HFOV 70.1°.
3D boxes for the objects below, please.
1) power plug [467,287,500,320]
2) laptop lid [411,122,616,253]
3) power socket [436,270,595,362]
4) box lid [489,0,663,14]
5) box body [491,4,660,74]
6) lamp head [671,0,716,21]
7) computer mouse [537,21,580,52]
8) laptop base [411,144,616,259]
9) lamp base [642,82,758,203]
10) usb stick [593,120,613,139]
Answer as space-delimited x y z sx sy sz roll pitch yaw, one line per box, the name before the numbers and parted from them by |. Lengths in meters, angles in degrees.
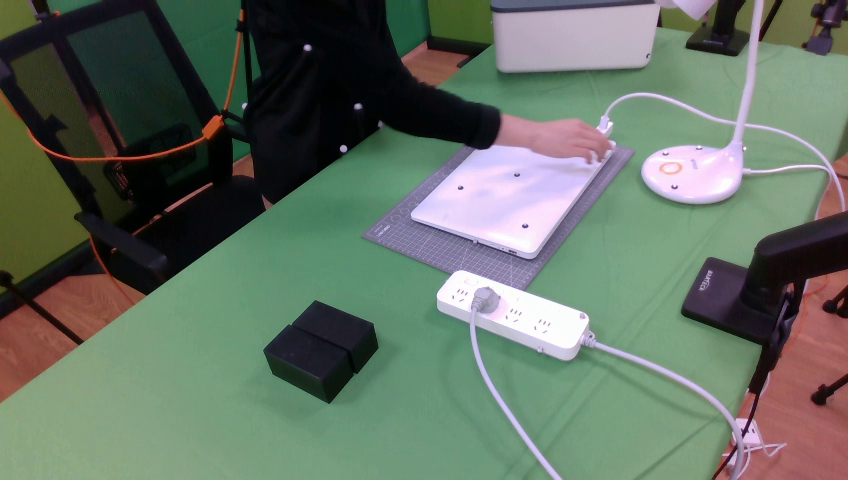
power plug | 0.073 0.092 0.814 0.035 0.053 0.073 29 54 34
laptop lid | 0.164 -0.111 1.067 0.240 0.013 0.357 19 46 31
power socket | 0.118 0.101 0.832 0.225 0.033 0.072 19 48 27
box lid | 0.340 -0.575 1.380 0.371 0.015 0.262 0 41 9
box body | 0.346 -0.520 1.429 0.363 0.161 0.253 0 41 9
lamp head | 0.375 -0.373 0.807 0.122 0.113 0.112 -40 27 32
computer mouse | 0.335 -0.503 1.488 0.118 0.041 0.062 21 20 -28
laptop base | 0.168 -0.102 1.074 0.234 0.023 0.355 17 46 30
lamp base | 0.464 -0.174 0.992 0.179 0.181 0.159 -5 41 -1
usb stick | 0.336 -0.201 1.147 0.021 0.027 0.059 26 53 27
